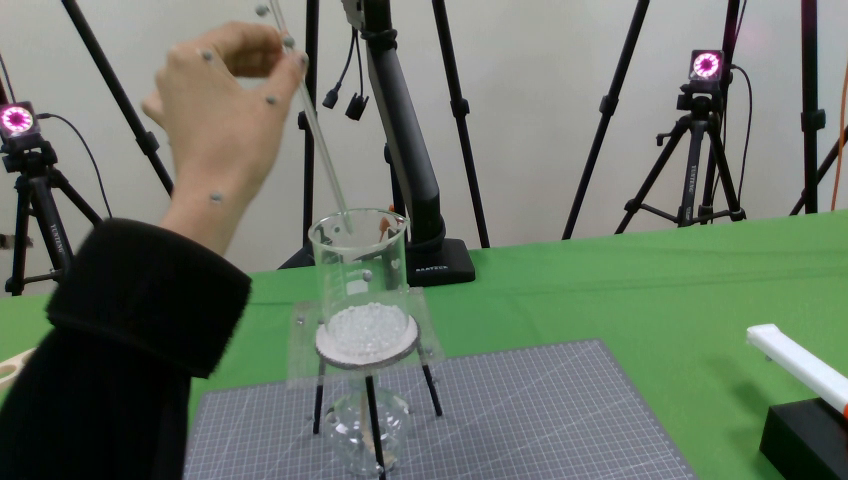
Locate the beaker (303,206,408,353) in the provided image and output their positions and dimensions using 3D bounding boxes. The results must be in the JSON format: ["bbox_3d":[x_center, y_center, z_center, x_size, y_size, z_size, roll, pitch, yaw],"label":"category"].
[{"bbox_3d":[-0.048,0.032,0.485,0.084,0.101,0.073,-17,31,-26],"label":"beaker"}]

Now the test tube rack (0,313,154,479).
[{"bbox_3d":[-0.393,0.168,0.570,0.066,0.086,0.242,17,32,35],"label":"test tube rack"}]

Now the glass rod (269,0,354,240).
[{"bbox_3d":[-0.075,-0.080,0.403,0.008,0.201,0.008,-9,36,7],"label":"glass rod"}]

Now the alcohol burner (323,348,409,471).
[{"bbox_3d":[-0.052,0.145,0.538,0.078,0.120,0.077,-1,26,1],"label":"alcohol burner"}]

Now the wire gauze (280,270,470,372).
[{"bbox_3d":[-0.043,0.063,0.495,0.125,0.011,0.120,-12,25,-27],"label":"wire gauze"}]

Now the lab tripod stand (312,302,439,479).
[{"bbox_3d":[-0.044,0.135,0.534,0.148,0.132,0.147,-1,27,1],"label":"lab tripod stand"}]

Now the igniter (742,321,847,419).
[{"bbox_3d":[0.359,0.141,0.492,0.057,0.025,0.274,-8,23,-7],"label":"igniter"}]
